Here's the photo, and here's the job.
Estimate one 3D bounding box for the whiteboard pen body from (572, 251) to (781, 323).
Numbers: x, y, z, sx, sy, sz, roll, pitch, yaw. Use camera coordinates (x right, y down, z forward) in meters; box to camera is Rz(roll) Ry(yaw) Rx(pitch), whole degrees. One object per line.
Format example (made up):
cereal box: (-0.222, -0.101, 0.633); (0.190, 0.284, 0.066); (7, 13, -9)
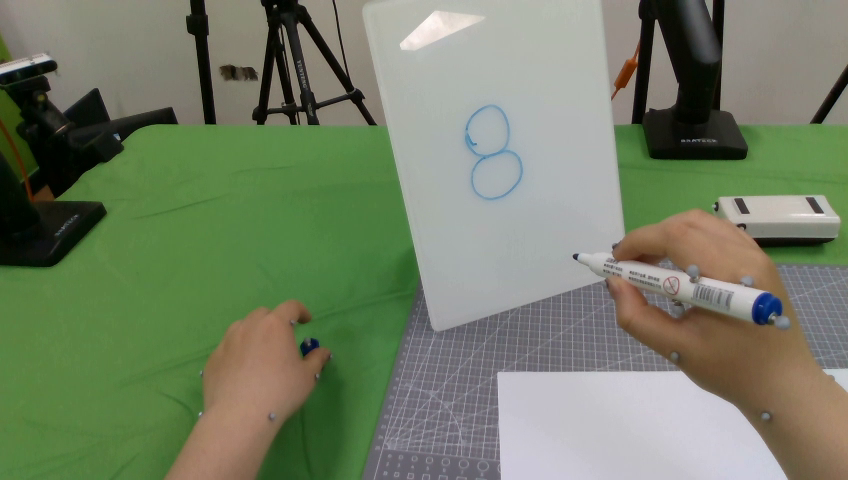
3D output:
whiteboard pen body: (0.126, 0.020, 0.332); (0.017, 0.017, 0.139); (-23, 18, -20)

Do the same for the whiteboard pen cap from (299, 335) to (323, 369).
whiteboard pen cap: (-0.104, 0.104, 0.558); (0.018, 0.033, 0.018); (-3, 40, 3)

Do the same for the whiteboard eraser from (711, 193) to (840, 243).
whiteboard eraser: (0.373, -0.023, 0.648); (0.112, 0.042, 0.055); (1, 40, 8)

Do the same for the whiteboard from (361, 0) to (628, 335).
whiteboard: (0.063, -0.096, 0.619); (0.217, 0.307, 0.143); (-15, 18, -11)
